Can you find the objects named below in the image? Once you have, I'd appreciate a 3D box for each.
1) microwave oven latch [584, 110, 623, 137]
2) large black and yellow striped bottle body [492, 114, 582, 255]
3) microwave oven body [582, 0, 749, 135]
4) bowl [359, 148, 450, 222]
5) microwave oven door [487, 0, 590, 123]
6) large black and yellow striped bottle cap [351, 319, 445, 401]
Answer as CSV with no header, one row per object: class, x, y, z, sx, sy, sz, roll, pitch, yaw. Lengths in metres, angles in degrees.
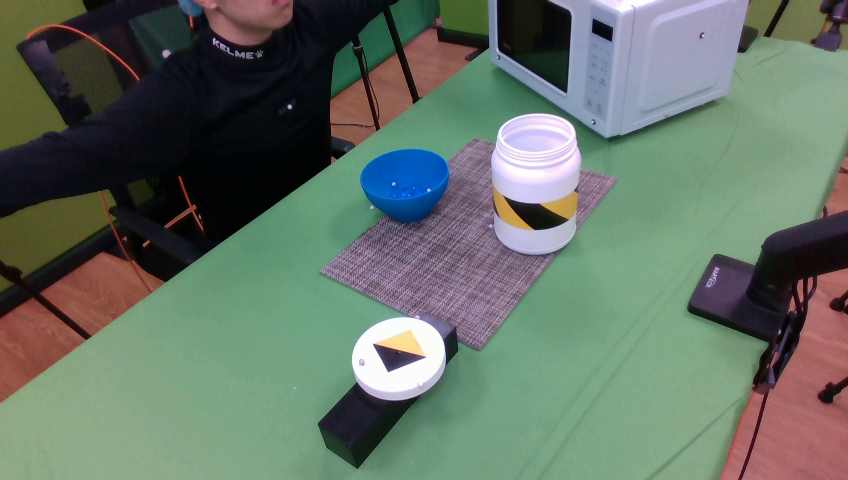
microwave oven latch,0.337,-0.222,1.142,0.030,0.029,0.078,-21,42,-14
large black and yellow striped bottle body,0.169,-0.083,0.912,0.131,0.185,0.130,-4,41,4
microwave oven body,0.382,-0.444,1.246,0.327,0.261,0.437,-22,42,-16
bowl,-0.029,-0.083,1.022,0.151,0.077,0.150,-4,40,4
microwave oven door,0.232,-0.420,1.230,0.039,0.245,0.352,-22,43,-16
large black and yellow striped bottle cap,-0.031,0.143,0.735,0.115,0.019,0.114,-3,40,3
